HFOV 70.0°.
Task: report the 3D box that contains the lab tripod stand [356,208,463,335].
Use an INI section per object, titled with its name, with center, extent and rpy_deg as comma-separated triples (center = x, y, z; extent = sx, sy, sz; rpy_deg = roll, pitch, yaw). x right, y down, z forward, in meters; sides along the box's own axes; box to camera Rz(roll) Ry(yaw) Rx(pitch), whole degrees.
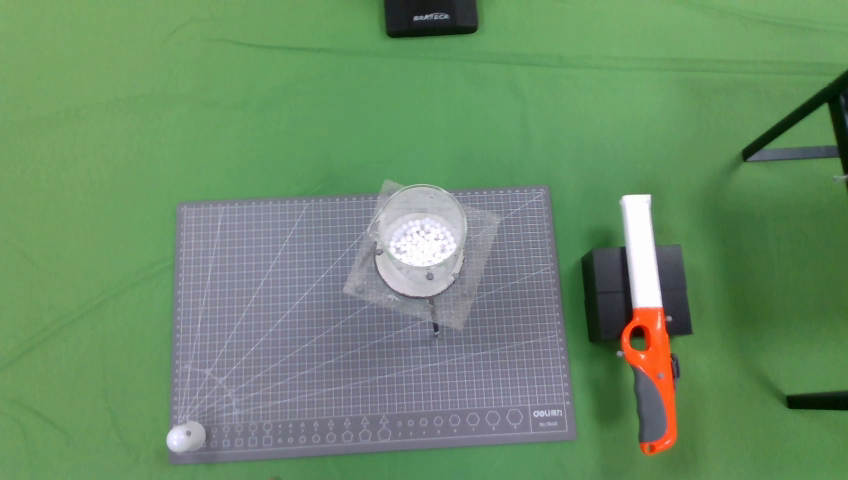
[lab tripod stand]
center = -0.006, 0.023, 0.650
extent = 0.148, 0.132, 0.147
rpy_deg = 0, 75, -1

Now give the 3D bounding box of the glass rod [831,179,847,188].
[glass rod]
center = 0.478, -0.070, 0.555
extent = 0.199, 0.008, 0.008
rpy_deg = -11, 77, 5

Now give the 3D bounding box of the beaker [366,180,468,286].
[beaker]
center = -0.006, 0.000, 0.539
extent = 0.084, 0.101, 0.073
rpy_deg = -3, 75, -1

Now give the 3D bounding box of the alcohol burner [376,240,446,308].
[alcohol burner]
center = -0.014, 0.035, 0.658
extent = 0.078, 0.119, 0.077
rpy_deg = 0, 79, 0

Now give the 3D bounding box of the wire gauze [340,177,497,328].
[wire gauze]
center = -0.003, 0.010, 0.586
extent = 0.121, 0.011, 0.124
rpy_deg = 20, 74, 1

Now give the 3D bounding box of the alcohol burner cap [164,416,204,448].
[alcohol burner cap]
center = -0.260, 0.207, 0.649
extent = 0.034, 0.048, 0.033
rpy_deg = 1, 77, -2

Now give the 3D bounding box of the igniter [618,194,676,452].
[igniter]
center = 0.236, 0.083, 0.653
extent = 0.057, 0.025, 0.275
rpy_deg = -1, 76, 2
